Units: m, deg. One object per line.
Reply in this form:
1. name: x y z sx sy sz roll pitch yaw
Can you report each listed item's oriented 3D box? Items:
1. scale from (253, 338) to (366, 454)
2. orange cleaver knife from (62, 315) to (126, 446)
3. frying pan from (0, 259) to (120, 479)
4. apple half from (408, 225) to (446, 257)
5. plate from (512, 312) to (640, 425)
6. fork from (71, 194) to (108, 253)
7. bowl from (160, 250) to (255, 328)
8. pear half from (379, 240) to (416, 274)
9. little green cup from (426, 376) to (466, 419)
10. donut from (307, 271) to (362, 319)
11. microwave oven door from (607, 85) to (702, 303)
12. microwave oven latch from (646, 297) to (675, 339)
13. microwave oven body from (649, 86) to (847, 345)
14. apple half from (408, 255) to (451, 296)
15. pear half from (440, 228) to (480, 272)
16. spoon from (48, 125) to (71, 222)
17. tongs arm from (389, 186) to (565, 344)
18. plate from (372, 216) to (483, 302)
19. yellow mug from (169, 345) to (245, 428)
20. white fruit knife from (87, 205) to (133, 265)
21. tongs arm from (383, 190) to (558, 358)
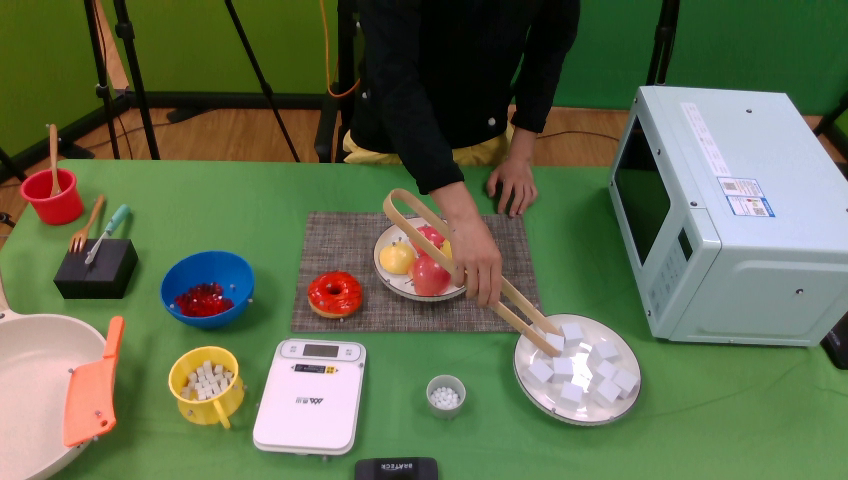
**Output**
1. scale: -0.175 0.236 0.951 0.149 0.032 0.199 4 46 0
2. orange cleaver knife: -0.480 0.199 0.887 0.077 0.012 0.210 -9 47 -7
3. frying pan: -0.647 0.164 0.936 0.307 0.103 0.485 -19 58 -22
4. apple half: 0.011 -0.006 1.176 0.081 0.033 0.081 2 53 -3
5. plate: 0.246 0.213 0.999 0.208 0.039 0.206 2 46 -2
6. fork: -0.634 -0.036 1.158 0.028 0.019 0.206 -8 31 -8
7. bowl: -0.362 0.098 1.040 0.151 0.077 0.150 2 45 -2
8. pear half: -0.048 0.024 1.146 0.070 0.031 0.087 12 47 -12
9. little green cup: 0.033 0.248 0.950 0.061 0.039 0.061 2 46 -2
10. donut: -0.157 0.097 1.073 0.099 0.048 0.098 4 45 -4
11. microwave oven door: 0.423 -0.094 1.140 0.039 0.245 0.353 2 46 -1
12. microwave oven latch: 0.412 0.134 1.061 0.030 0.029 0.078 4 45 1
13. microwave oven body: 0.567 -0.053 1.118 0.326 0.261 0.439 2 45 -1
14. apple half: 0.012 0.058 1.103 0.075 0.053 0.080 -5 43 -13
15. pear half: 0.065 0.007 1.150 0.076 0.056 0.109 -11 44 -2
16. spoon: -0.718 -0.131 1.188 0.041 0.021 0.193 -3 90 -7
17. tongs arm: 0.086 0.046 1.021 0.384 0.026 0.050 45 46 2
18. plate: 0.006 0.038 1.145 0.209 0.038 0.208 2 46 -2
19. yellow mug: -0.322 0.230 0.922 0.100 0.064 0.130 -24 53 -25
20. white fruit knife: -0.584 -0.013 1.129 0.016 0.027 0.206 -1 31 -4
21. tongs arm: 0.074 0.059 1.002 0.387 0.028 0.028 43 49 0
